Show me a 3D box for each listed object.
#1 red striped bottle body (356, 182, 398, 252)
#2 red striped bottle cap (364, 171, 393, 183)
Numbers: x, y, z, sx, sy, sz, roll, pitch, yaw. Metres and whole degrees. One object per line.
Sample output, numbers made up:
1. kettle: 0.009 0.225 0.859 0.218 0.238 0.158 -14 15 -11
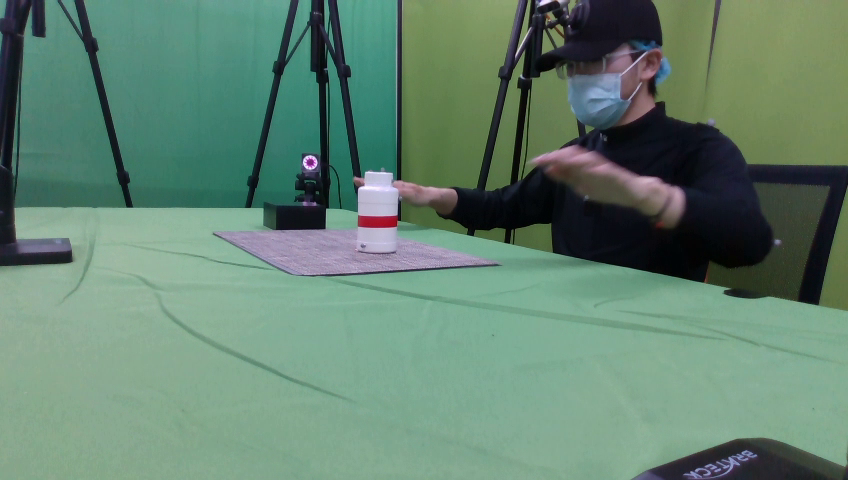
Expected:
1. red striped bottle body: -0.071 -0.044 0.924 0.063 0.119 0.063 2 7 0
2. red striped bottle cap: -0.069 -0.096 0.918 0.044 0.017 0.044 0 4 0
